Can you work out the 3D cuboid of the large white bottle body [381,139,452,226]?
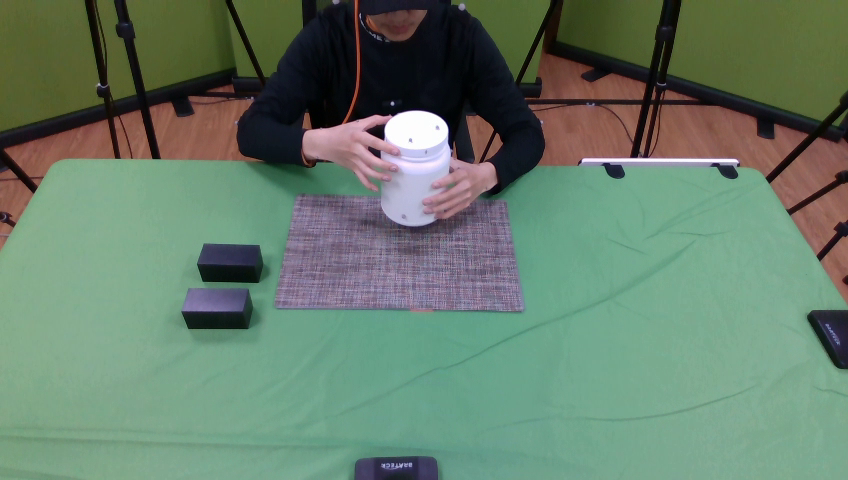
[{"bbox_3d":[-0.016,-0.131,1.150,0.131,0.185,0.130,2,47,-2],"label":"large white bottle body"}]

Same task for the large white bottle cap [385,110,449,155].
[{"bbox_3d":[-0.012,-0.193,1.085,0.115,0.018,0.114,0,47,0],"label":"large white bottle cap"}]
